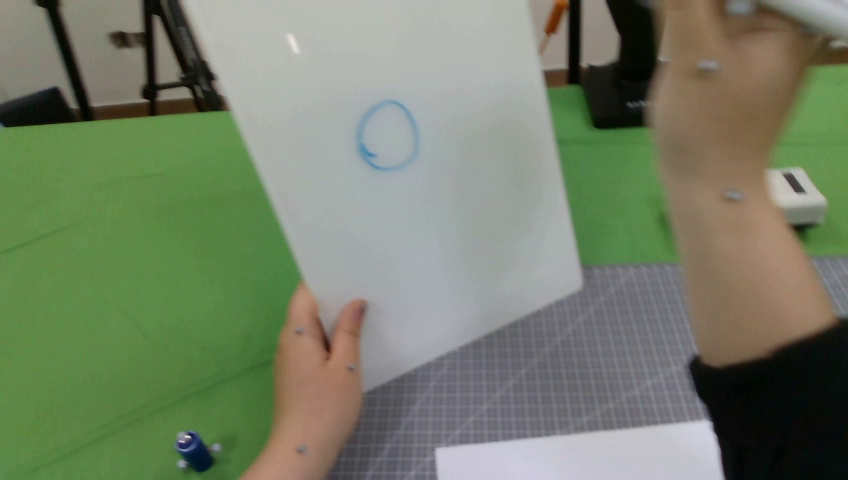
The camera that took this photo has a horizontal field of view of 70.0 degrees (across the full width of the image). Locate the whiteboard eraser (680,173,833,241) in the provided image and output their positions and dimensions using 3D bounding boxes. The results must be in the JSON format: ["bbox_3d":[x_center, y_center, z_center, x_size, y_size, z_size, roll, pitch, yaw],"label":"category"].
[{"bbox_3d":[0.294,-0.029,0.542,0.112,0.042,0.055,-4,45,4],"label":"whiteboard eraser"}]

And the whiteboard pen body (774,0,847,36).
[{"bbox_3d":[0.136,-0.110,0.244,0.017,0.017,0.139,-37,65,-28],"label":"whiteboard pen body"}]

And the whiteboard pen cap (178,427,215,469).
[{"bbox_3d":[-0.161,0.148,0.429,0.018,0.033,0.018,-4,44,4],"label":"whiteboard pen cap"}]

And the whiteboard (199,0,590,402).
[{"bbox_3d":[-0.018,-0.071,0.486,0.217,0.308,0.142,-22,24,-13],"label":"whiteboard"}]
